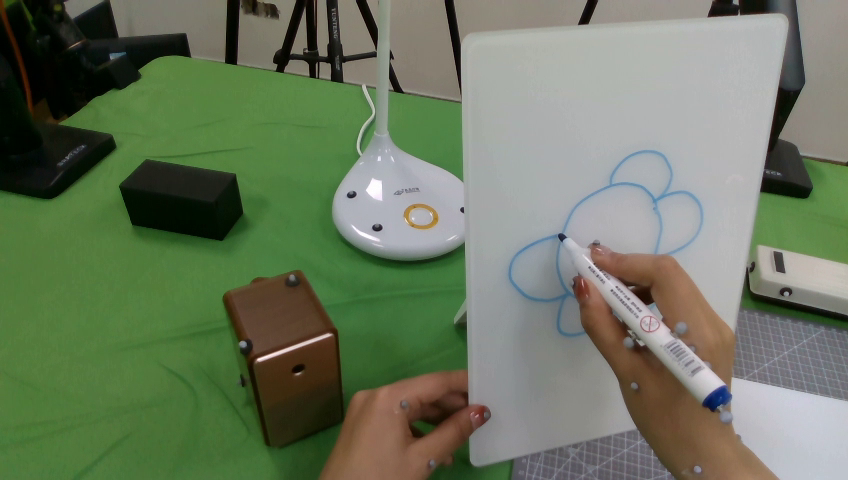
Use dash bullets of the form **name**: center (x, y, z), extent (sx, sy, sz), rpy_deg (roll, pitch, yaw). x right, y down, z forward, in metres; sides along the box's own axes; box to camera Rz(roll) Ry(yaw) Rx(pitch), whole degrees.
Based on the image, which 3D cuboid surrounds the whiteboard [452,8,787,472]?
- **whiteboard**: center (0.115, -0.011, 0.468), extent (0.218, 0.307, 0.142), rpy_deg (-8, 23, -12)

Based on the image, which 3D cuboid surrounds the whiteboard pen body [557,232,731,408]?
- **whiteboard pen body**: center (0.116, 0.037, 0.342), extent (0.017, 0.017, 0.139), rpy_deg (-16, 44, -21)

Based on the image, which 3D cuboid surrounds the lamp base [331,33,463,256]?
- **lamp base**: center (-0.025, -0.103, 0.616), extent (0.161, 0.182, 0.177), rpy_deg (-22, 45, -26)

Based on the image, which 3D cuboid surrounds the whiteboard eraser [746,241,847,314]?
- **whiteboard eraser**: center (0.374, 0.039, 0.588), extent (0.112, 0.042, 0.055), rpy_deg (13, 40, 11)

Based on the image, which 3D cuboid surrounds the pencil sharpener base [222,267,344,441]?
- **pencil sharpener base**: center (-0.103, 0.084, 0.451), extent (0.061, 0.108, 0.076), rpy_deg (-19, 45, -23)

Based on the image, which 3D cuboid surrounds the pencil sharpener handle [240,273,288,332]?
- **pencil sharpener handle**: center (-0.126, 0.044, 0.476), extent (0.036, 0.068, 0.030), rpy_deg (-25, 47, -17)
